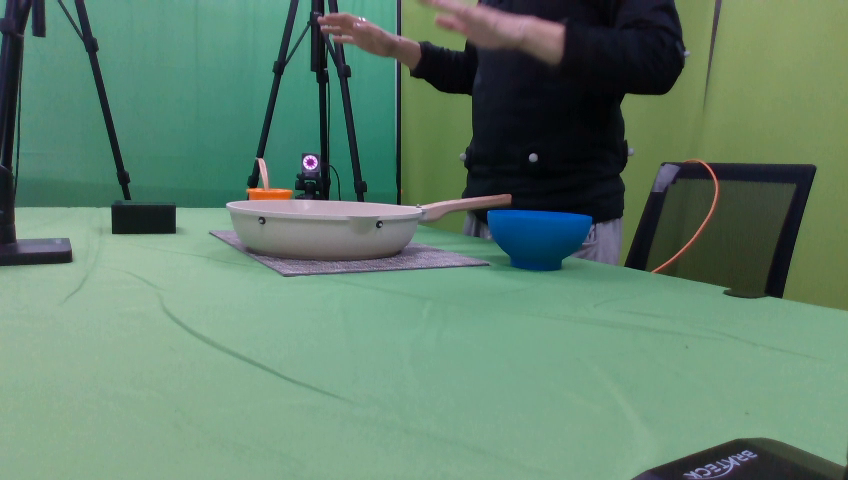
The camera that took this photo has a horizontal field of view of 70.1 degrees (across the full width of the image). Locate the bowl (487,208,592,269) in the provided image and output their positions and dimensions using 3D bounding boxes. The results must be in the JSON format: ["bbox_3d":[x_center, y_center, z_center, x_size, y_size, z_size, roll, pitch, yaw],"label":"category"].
[{"bbox_3d":[0.164,-0.003,0.875,0.151,0.077,0.151,2,7,0],"label":"bowl"}]

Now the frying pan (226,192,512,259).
[{"bbox_3d":[-0.058,-0.041,0.975,0.490,0.102,0.305,-11,13,-26],"label":"frying pan"}]

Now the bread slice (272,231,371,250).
[{"bbox_3d":[-0.148,0.001,0.929,0.133,0.018,0.107,6,8,38],"label":"bread slice"}]

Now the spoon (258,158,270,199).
[{"bbox_3d":[-0.332,-0.107,1.269,0.042,0.021,0.193,1,52,-23],"label":"spoon"}]
